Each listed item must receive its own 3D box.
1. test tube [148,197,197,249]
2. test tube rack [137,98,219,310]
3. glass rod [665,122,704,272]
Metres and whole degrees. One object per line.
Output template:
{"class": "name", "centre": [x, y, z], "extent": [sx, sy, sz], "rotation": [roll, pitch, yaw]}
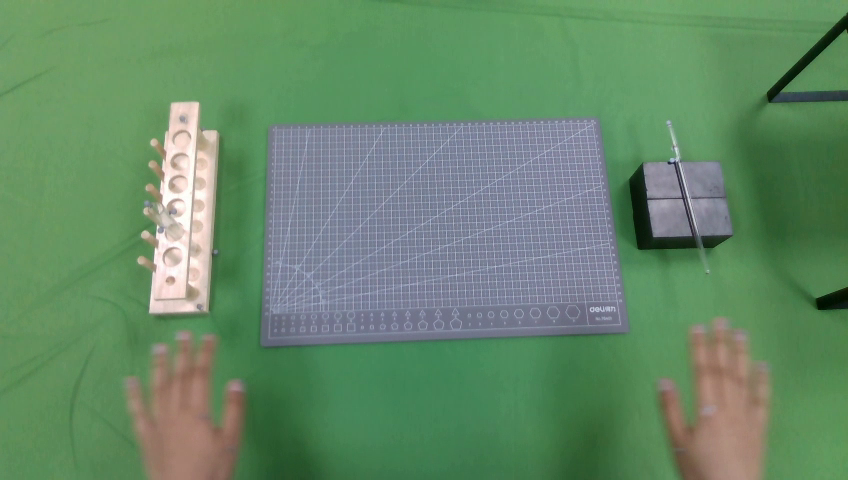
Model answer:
{"class": "test tube", "centre": [-0.275, -0.015, 0.671], "extent": [0.017, 0.150, 0.017], "rotation": [2, 74, -7]}
{"class": "test tube rack", "centre": [-0.299, -0.043, 0.730], "extent": [0.067, 0.085, 0.241], "rotation": [-2, 73, -2]}
{"class": "glass rod", "centre": [0.323, -0.057, 0.751], "extent": [0.008, 0.008, 0.198], "rotation": [-5, 73, -4]}
